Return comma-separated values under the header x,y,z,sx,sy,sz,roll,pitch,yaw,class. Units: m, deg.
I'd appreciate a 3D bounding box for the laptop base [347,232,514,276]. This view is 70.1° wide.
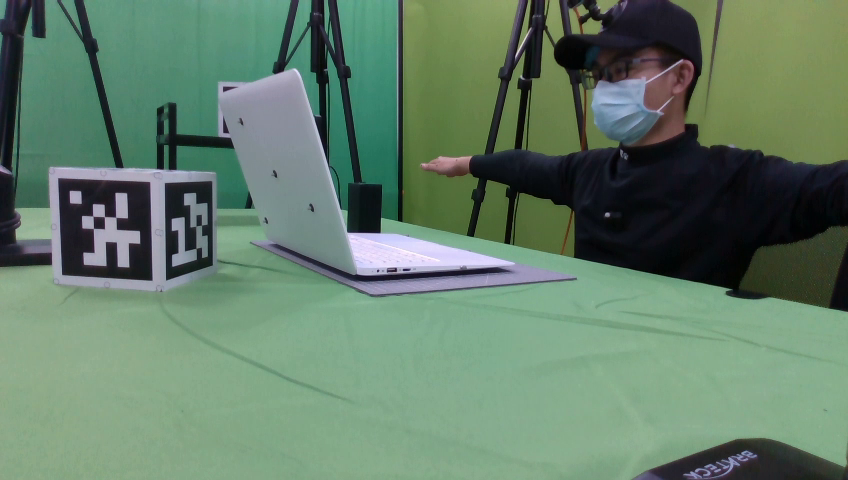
x,y,z,sx,sy,sz,roll,pitch,yaw,class
-0.066,0.017,0.893,0.237,0.023,0.352,1,6,-32,laptop base

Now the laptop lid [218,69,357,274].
x,y,z,sx,sy,sz,roll,pitch,yaw,class
-0.195,-0.090,0.798,0.013,0.242,0.355,-23,20,-27,laptop lid
